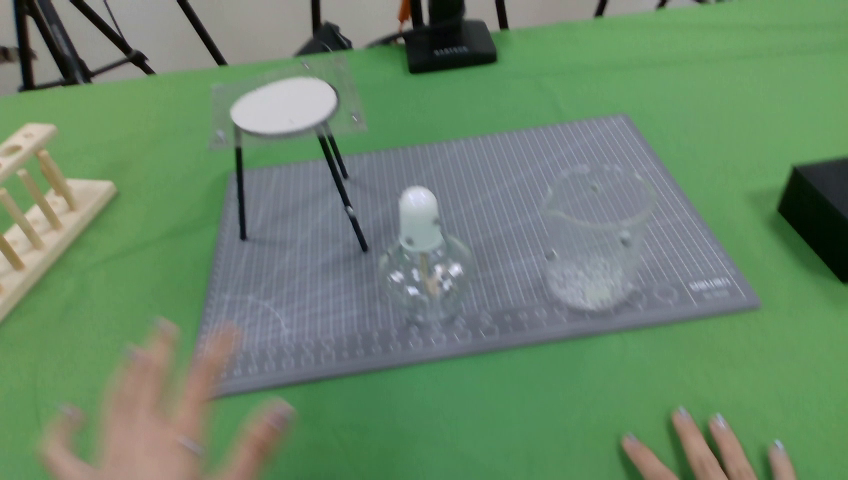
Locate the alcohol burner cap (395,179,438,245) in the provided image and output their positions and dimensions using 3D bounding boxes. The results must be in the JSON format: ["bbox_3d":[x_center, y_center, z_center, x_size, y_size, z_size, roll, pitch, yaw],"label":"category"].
[{"bbox_3d":[-0.006,-0.022,0.445,0.034,0.048,0.033,-2,41,2],"label":"alcohol burner cap"}]

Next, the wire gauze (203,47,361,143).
[{"bbox_3d":[-0.122,-0.121,0.503,0.125,0.011,0.120,-13,44,-5],"label":"wire gauze"}]

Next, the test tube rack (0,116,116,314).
[{"bbox_3d":[-0.399,-0.012,0.562,0.066,0.086,0.240,5,45,12],"label":"test tube rack"}]

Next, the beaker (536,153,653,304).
[{"bbox_3d":[0.128,-0.005,0.472,0.084,0.101,0.073,-12,43,-4],"label":"beaker"}]

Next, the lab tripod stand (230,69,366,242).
[{"bbox_3d":[-0.115,-0.073,0.550,0.148,0.133,0.147,-4,46,4],"label":"lab tripod stand"}]

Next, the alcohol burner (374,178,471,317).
[{"bbox_3d":[-0.003,0.003,0.470,0.078,0.120,0.077,-4,42,4],"label":"alcohol burner"}]
